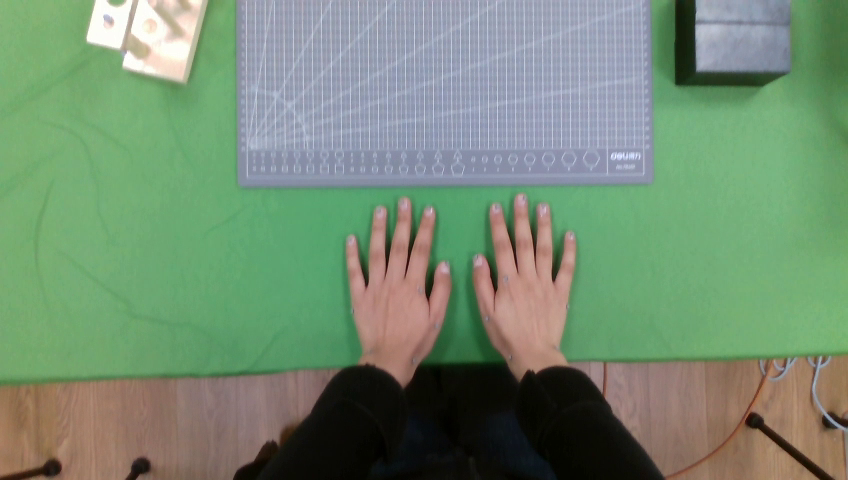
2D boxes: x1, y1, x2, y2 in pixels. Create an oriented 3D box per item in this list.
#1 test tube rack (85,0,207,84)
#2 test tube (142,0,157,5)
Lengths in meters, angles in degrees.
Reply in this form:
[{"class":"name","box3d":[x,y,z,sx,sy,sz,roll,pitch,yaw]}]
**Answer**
[{"class":"test tube rack","box3d":[-0.259,-0.294,0.613,0.067,0.085,0.242,14,88,-1]},{"class":"test tube","box3d":[-0.282,-0.264,0.563,0.017,0.150,0.017,0,80,-2]}]
